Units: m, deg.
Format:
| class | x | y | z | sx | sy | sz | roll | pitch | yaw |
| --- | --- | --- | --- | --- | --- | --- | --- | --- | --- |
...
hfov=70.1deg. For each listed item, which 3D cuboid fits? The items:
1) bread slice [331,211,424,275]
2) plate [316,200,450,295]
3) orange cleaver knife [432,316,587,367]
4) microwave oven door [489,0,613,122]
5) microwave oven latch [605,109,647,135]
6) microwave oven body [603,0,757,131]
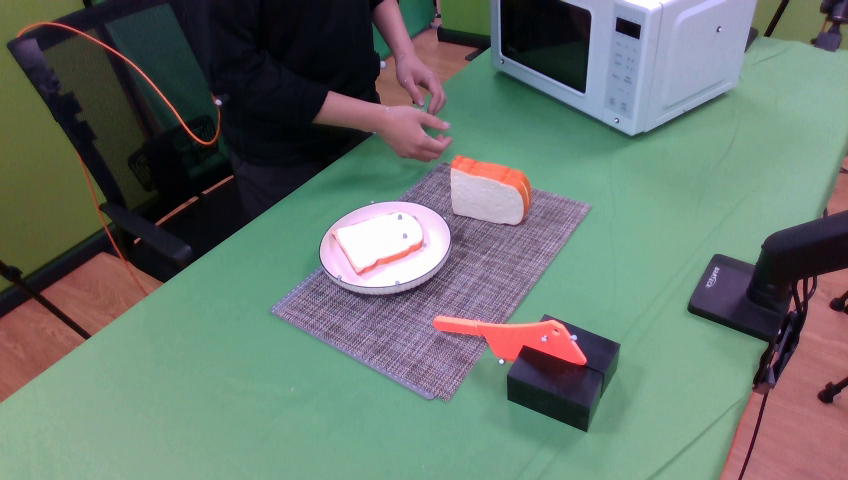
| class | x | y | z | sx | sy | sz | roll | pitch | yaw |
| --- | --- | --- | --- | --- | --- | --- | --- | --- | --- |
| bread slice | -0.069 | -0.002 | 0.960 | 0.135 | 0.018 | 0.106 | -22 | 46 | -21 |
| plate | -0.062 | 0.015 | 0.944 | 0.207 | 0.039 | 0.206 | -4 | 41 | 4 |
| orange cleaver knife | 0.101 | 0.127 | 0.761 | 0.210 | 0.077 | 0.012 | -1 | 34 | 40 |
| microwave oven door | 0.251 | -0.412 | 1.219 | 0.039 | 0.245 | 0.352 | -27 | 44 | -21 |
| microwave oven latch | 0.379 | -0.225 | 1.139 | 0.030 | 0.029 | 0.078 | -26 | 43 | -19 |
| microwave oven body | 0.396 | -0.448 | 1.248 | 0.327 | 0.261 | 0.437 | -27 | 44 | -21 |
